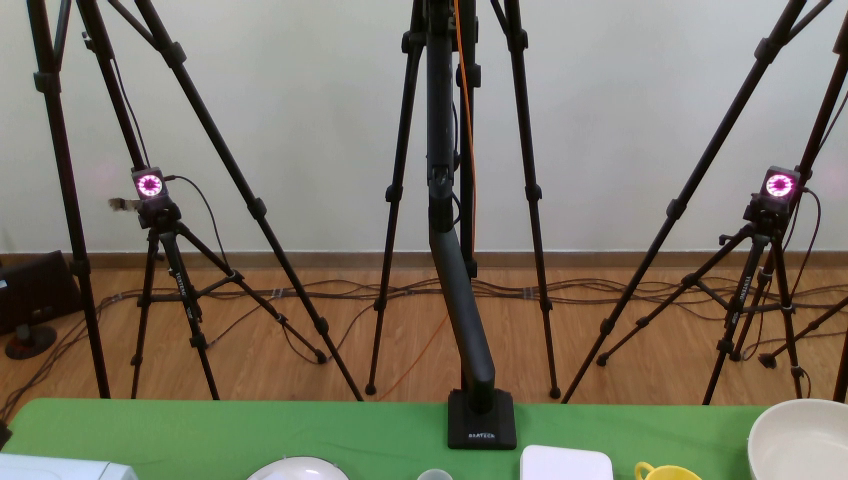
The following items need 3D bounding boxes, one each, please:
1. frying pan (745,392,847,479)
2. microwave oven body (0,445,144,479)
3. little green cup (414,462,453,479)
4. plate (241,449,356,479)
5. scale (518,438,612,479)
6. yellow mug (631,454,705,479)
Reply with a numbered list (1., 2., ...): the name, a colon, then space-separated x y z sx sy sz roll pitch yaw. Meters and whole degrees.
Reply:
1. frying pan: 0.690 0.414 0.856 0.307 0.103 0.482 -17 31 -17
2. microwave oven body: -0.543 0.488 0.676 0.326 0.262 0.438 3 38 5
3. little green cup: 0.016 0.393 0.970 0.061 0.039 0.061 -1 37 1
4. plate: -0.202 0.424 0.939 0.208 0.039 0.205 -1 37 1
5. scale: 0.222 0.406 0.948 0.148 0.032 0.199 3 38 7
6. yellow mug: 0.370 0.387 0.938 0.100 0.064 0.129 -20 40 -22
